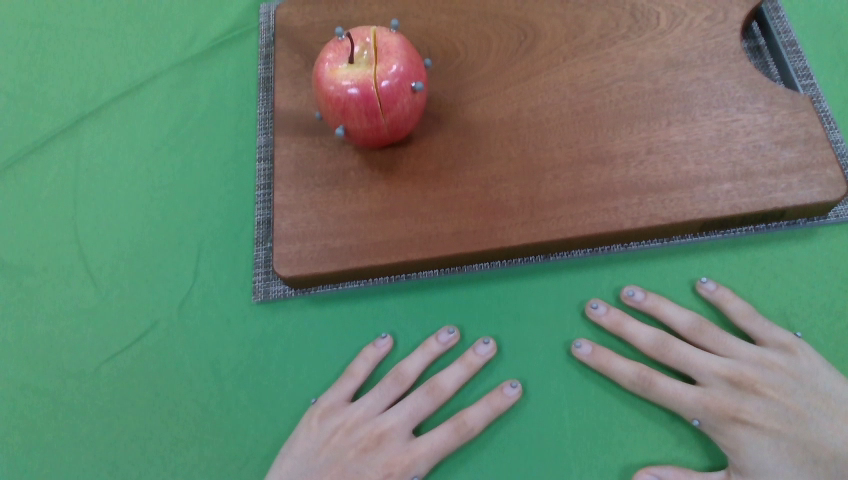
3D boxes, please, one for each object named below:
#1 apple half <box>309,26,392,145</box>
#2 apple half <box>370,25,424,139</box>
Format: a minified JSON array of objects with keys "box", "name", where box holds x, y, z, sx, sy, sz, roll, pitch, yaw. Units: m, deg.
[{"box":[-0.054,-0.108,0.442,0.053,0.075,0.080,-9,68,8],"name":"apple half"},{"box":[-0.015,-0.113,0.438,0.033,0.082,0.080,-7,65,7],"name":"apple half"}]
